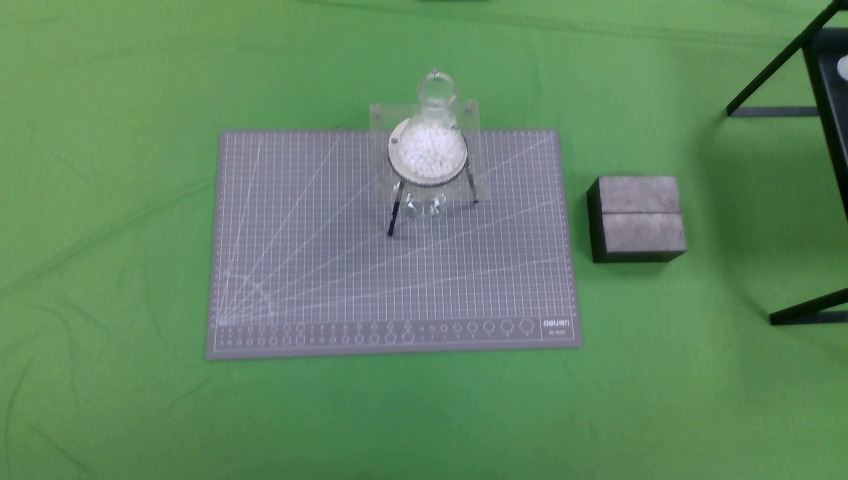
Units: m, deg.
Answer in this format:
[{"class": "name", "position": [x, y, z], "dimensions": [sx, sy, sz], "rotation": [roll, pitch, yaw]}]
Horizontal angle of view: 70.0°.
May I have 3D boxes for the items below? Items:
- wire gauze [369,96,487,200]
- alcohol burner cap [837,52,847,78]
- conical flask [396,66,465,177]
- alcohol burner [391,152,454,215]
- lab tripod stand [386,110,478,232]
[{"class": "wire gauze", "position": [0.004, -0.101, 0.659], "dimensions": [0.125, 0.011, 0.121], "rotation": [-1, 75, -7]}, {"class": "alcohol burner cap", "position": [0.479, -0.200, 0.655], "dimensions": [0.034, 0.048, 0.033], "rotation": [1, 74, -4]}, {"class": "conical flask", "position": [0.010, -0.120, 0.602], "dimensions": [0.075, 0.122, 0.075], "rotation": [1, 71, -3]}, {"class": "alcohol burner", "position": [-0.001, -0.075, 0.730], "dimensions": [0.078, 0.119, 0.077], "rotation": [1, 74, -2]}, {"class": "lab tripod stand", "position": [-0.002, -0.087, 0.723], "dimensions": [0.148, 0.132, 0.147], "rotation": [1, 73, -2]}]
